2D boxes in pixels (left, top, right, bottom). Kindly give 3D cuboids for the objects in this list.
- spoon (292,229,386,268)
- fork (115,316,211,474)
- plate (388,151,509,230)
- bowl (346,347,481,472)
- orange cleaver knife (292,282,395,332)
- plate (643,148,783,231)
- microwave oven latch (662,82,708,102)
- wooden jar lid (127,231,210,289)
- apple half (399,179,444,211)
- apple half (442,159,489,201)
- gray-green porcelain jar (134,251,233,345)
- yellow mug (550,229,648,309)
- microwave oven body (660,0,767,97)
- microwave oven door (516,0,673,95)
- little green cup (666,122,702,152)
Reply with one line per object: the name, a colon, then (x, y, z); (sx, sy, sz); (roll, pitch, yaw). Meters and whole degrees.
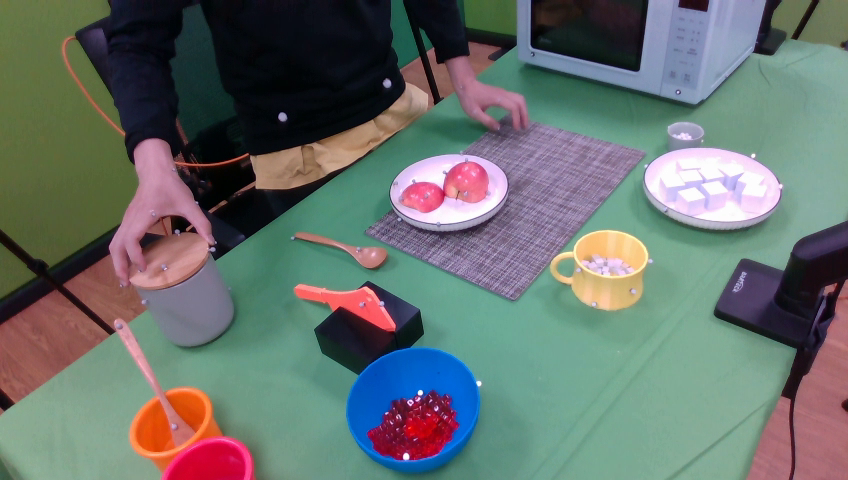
spoon: (-0.141, 0.007, 0.982); (0.192, 0.022, 0.041); (18, 67, 26)
fork: (-0.308, 0.179, 0.708); (0.028, 0.018, 0.207); (-30, 89, -23)
plate: (0.044, -0.082, 1.042); (0.209, 0.038, 0.208); (-4, 40, 4)
bowl: (-0.008, 0.205, 0.691); (0.151, 0.077, 0.150); (-4, 40, 4)
orange cleaver knife: (-0.116, 0.091, 0.835); (0.209, 0.077, 0.012); (2, 32, 48)
plate: (0.464, -0.080, 0.986); (0.207, 0.039, 0.206); (-4, 41, 4)
microwave oven latch: (0.517, -0.298, 1.203); (0.078, 0.029, 0.030); (28, 52, 35)
wooden jar lid: (-0.339, 0.029, 0.809); (0.108, 0.021, 0.108); (-6, 39, 5)
apple half: (-0.004, -0.087, 1.045); (0.081, 0.033, 0.081); (-2, 42, 2)
apple half: (0.074, -0.110, 1.047); (0.080, 0.053, 0.075); (21, 45, 30)
gray-green porcelain jar: (-0.334, 0.076, 0.850); (0.106, 0.127, 0.105); (-4, 41, 4)
yellow mug: (0.245, 0.040, 0.857); (0.130, 0.064, 0.099); (1, 42, 11)
microwave oven body: (0.473, -0.517, 1.314); (0.438, 0.261, 0.327); (26, 51, 34)
microwave oven door: (0.344, -0.458, 1.256); (0.353, 0.245, 0.039); (26, 51, 33)
little green cup: (0.472, -0.183, 1.102); (0.061, 0.039, 0.061); (-5, 41, 5)
